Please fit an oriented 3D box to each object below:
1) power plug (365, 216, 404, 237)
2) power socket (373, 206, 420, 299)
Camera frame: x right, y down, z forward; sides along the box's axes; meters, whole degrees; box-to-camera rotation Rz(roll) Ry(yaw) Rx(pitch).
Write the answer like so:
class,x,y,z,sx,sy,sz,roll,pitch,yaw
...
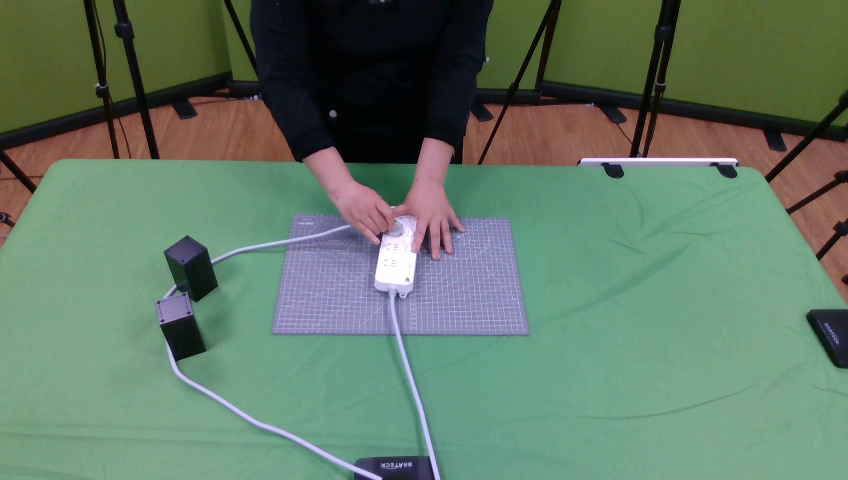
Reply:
class,x,y,z,sx,sy,sz,roll,pitch,yaw
power plug,-0.075,-0.026,1.178,0.072,0.053,0.035,16,47,12
power socket,-0.051,0.016,1.167,0.072,0.033,0.225,6,46,1
